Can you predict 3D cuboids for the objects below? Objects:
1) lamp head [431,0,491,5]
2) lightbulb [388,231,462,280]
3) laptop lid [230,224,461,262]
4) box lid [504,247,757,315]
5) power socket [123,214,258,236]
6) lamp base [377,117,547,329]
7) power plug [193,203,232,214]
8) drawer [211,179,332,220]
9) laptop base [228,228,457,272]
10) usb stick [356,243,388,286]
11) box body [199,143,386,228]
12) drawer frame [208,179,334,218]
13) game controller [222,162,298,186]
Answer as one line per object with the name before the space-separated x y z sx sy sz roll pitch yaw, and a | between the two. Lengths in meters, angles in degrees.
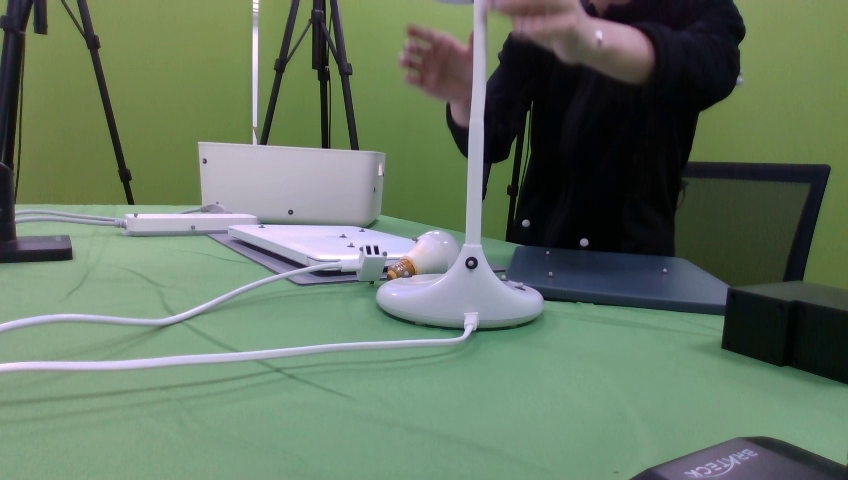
lamp head | 0.034 -0.301 0.575 0.112 0.112 0.123 2 -37 -3
lightbulb | -0.001 0.026 0.703 0.059 0.059 0.108 10 26 43
laptop lid | -0.119 0.000 0.889 0.243 0.013 0.355 1 7 -33
box lid | 0.244 0.044 0.793 0.263 0.015 0.372 4 7 10
power socket | -0.398 -0.028 1.049 0.228 0.032 0.072 -3 8 -34
lamp base | 0.041 -0.019 0.552 0.161 0.180 0.179 1 10 -10
power plug | -0.394 -0.042 1.139 0.072 0.052 0.035 -13 2 31
drawer | -0.328 -0.095 1.332 0.212 0.073 0.194 5 8 6
laptop base | -0.122 0.012 0.889 0.237 0.023 0.352 2 6 -35
usb stick | -0.058 0.029 0.658 0.027 0.059 0.021 -5 52 -18
box body | -0.276 -0.124 1.334 0.364 0.160 0.254 3 7 1
drawer frame | -0.327 -0.093 1.328 0.213 0.082 0.202 0 5 6
game controller | -0.357 -0.143 1.322 0.156 0.051 0.097 1 3 -16
